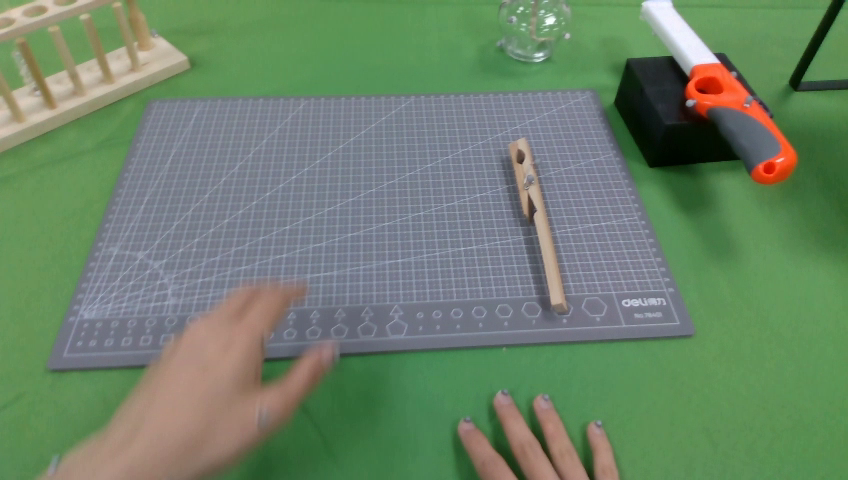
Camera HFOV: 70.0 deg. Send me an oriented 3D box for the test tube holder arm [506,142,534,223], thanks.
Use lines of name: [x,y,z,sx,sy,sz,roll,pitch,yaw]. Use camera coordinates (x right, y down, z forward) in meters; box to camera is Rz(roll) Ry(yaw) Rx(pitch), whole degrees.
test tube holder arm: [0.085,-0.051,0.525,0.010,0.015,0.087,-27,47,23]

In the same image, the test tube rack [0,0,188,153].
test tube rack: [-0.356,-0.161,0.565,0.242,0.086,0.066,-36,59,-28]

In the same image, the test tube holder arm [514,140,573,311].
test tube holder arm: [0.094,-0.019,0.494,0.013,0.015,0.176,-28,46,22]

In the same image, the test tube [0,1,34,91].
test tube: [-0.375,-0.198,0.531,0.017,0.151,0.017,2,46,-2]

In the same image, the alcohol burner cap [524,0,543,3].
alcohol burner cap: [0.112,-0.270,0.612,0.034,0.048,0.033,0,49,0]

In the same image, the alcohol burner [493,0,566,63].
alcohol burner: [0.113,-0.249,0.637,0.078,0.120,0.077,0,51,0]

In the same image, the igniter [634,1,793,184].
igniter: [0.251,-0.145,0.544,0.057,0.025,0.273,-6,47,-3]
